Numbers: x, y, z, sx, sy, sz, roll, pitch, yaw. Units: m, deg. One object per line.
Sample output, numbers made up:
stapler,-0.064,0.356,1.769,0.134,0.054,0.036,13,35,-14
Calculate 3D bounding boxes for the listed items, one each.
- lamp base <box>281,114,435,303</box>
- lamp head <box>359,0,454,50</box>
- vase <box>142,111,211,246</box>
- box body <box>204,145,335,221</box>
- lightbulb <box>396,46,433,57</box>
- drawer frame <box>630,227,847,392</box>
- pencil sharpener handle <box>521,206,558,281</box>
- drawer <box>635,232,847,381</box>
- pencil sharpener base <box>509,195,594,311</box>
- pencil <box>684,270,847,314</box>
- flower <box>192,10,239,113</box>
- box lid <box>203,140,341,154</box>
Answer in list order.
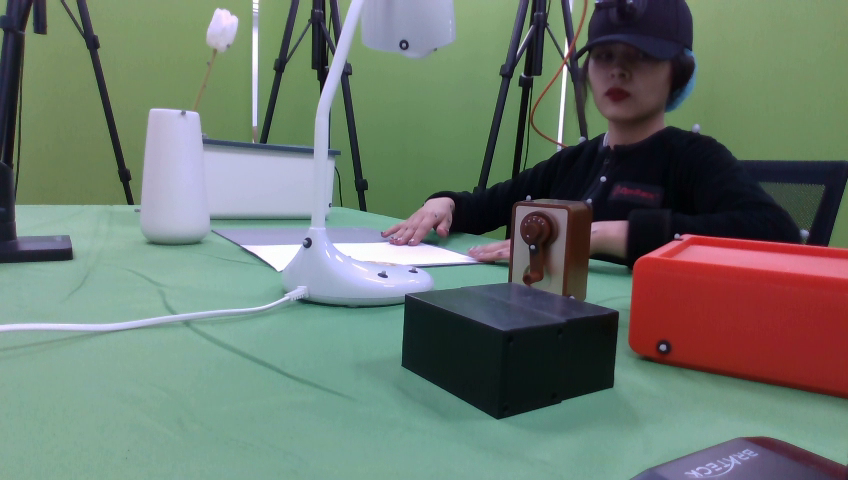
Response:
lamp base,-0.071,-0.035,0.614,0.160,0.180,0.180,6,10,27
lamp head,-0.024,-0.283,0.674,0.112,0.123,0.112,-3,38,3
vase,-0.378,-0.093,0.920,0.098,0.200,0.098,2,9,0
box body,-0.411,-0.135,1.386,0.366,0.160,0.253,-2,9,-29
lightbulb,-0.018,-0.265,0.692,0.059,0.108,0.059,-10,27,6
drawer frame,0.292,0.043,0.484,0.201,0.082,0.214,7,9,29
pencil sharpener handle,0.101,0.003,0.556,0.036,0.067,0.031,0,5,31
drawer,0.292,0.045,0.488,0.193,0.073,0.213,7,10,30
pencil sharpener base,0.126,0.011,0.602,0.061,0.107,0.077,7,9,31
pencil,0.307,0.046,0.517,0.194,0.012,0.012,13,5,-11
flower,-0.354,-0.174,0.915,0.038,0.361,0.044,18,-3,12
box lid,-0.396,-0.212,1.373,0.373,0.015,0.262,-1,9,-29
